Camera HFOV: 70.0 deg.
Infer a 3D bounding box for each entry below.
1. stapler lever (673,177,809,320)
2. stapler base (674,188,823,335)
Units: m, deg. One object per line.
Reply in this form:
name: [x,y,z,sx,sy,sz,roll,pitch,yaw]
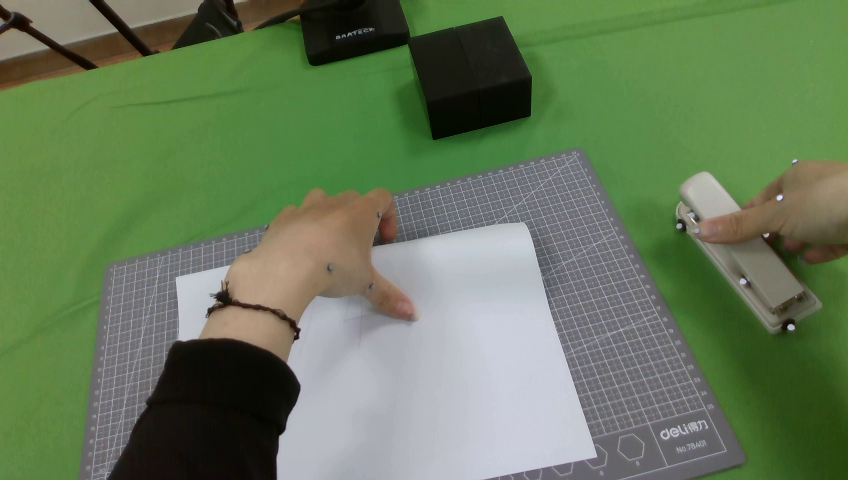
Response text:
stapler lever: [0.226,0.002,0.441,0.027,0.040,0.117,-41,53,19]
stapler base: [0.239,0.009,0.461,0.041,0.025,0.129,-41,54,19]
